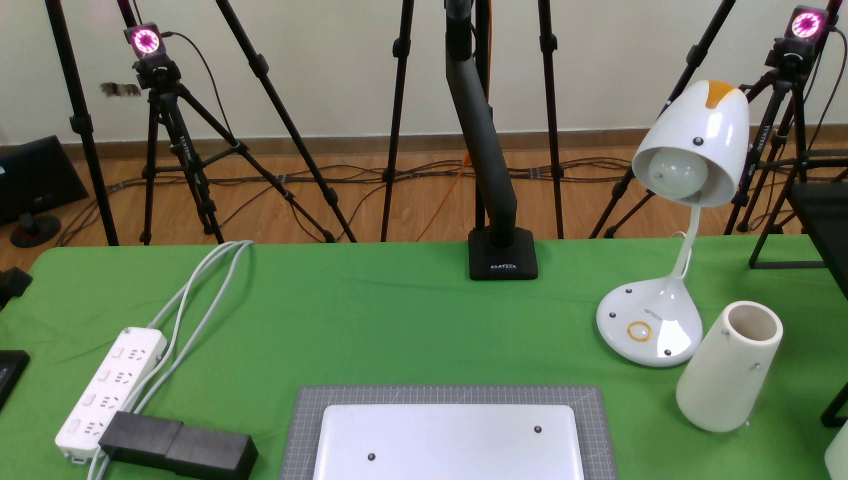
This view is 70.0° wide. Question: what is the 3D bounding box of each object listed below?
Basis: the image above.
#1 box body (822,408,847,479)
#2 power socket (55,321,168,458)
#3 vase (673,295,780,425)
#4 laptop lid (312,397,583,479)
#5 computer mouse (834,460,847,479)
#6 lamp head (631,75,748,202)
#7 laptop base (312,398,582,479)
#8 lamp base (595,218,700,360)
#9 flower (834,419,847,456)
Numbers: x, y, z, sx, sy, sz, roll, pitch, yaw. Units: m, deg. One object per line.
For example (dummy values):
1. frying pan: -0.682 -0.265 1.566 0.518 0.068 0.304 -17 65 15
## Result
1. box body: 0.631 0.340 0.636 0.254 0.162 0.360 0 45 4
2. power socket: -0.462 0.213 0.909 0.072 0.033 0.225 6 45 8
3. vase: 0.397 0.160 0.801 0.098 0.202 0.097 -3 44 3
4. laptop lid: 0.029 0.310 0.782 0.356 0.013 0.239 0 47 4
5. computer mouse: 0.562 0.318 0.739 0.063 0.041 0.116 -7 37 3
6. lamp head: 0.304 -0.117 0.672 0.111 0.113 0.122 23 68 24
7. laptop base: 0.029 0.316 0.792 0.354 0.023 0.233 -1 48 2
8. lamp base: 0.358 0.060 0.915 0.159 0.182 0.179 26 49 25
9. flower: 0.556 0.373 0.665 0.038 0.044 0.358 -35 46 32
